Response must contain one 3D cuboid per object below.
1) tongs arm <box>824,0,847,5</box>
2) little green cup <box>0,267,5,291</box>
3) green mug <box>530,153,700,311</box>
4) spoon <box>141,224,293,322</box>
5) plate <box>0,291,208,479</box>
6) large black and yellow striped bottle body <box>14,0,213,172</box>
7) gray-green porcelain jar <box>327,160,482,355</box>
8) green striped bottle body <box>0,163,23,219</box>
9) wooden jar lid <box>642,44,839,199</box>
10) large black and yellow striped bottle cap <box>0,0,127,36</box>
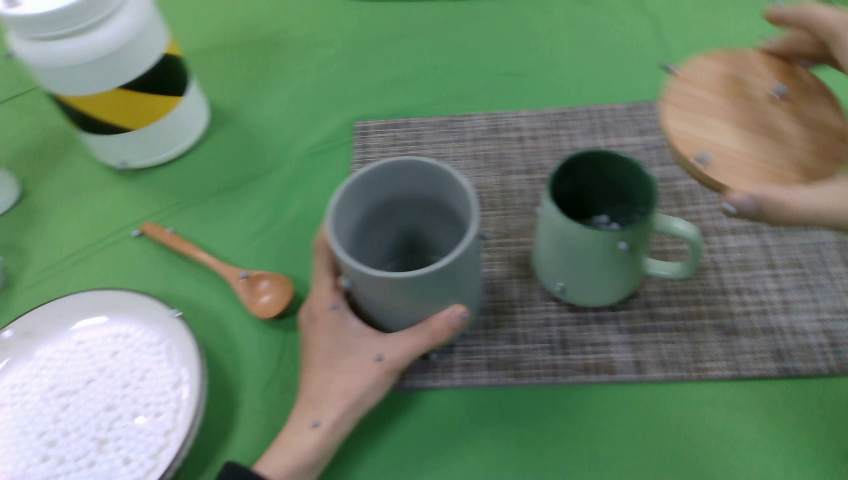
[{"bbox_3d":[0.573,-0.228,0.610,0.384,0.028,0.028,28,56,33],"label":"tongs arm"},{"bbox_3d":[-0.418,0.034,0.548,0.061,0.039,0.061,-3,53,4],"label":"little green cup"},{"bbox_3d":[0.148,0.001,0.472,0.125,0.106,0.092,17,57,15],"label":"green mug"},{"bbox_3d":[-0.191,0.022,0.545,0.192,0.022,0.041,26,78,21],"label":"spoon"},{"bbox_3d":[-0.265,0.136,0.462,0.209,0.038,0.207,-2,54,4],"label":"plate"},{"bbox_3d":[-0.302,-0.171,0.593,0.131,0.186,0.129,-3,55,4],"label":"large black and yellow striped bottle body"},{"bbox_3d":[-0.008,0.020,0.459,0.106,0.128,0.105,-3,54,4],"label":"gray-green porcelain jar"},{"bbox_3d":[-0.450,-0.074,0.578,0.063,0.120,0.062,-3,54,4],"label":"green striped bottle body"},{"bbox_3d":[0.179,-0.067,0.349,0.108,0.021,0.107,0,62,0],"label":"wooden jar lid"},{"bbox_3d":[-0.310,-0.218,0.524,0.115,0.019,0.114,-3,53,4],"label":"large black and yellow striped bottle cap"}]
